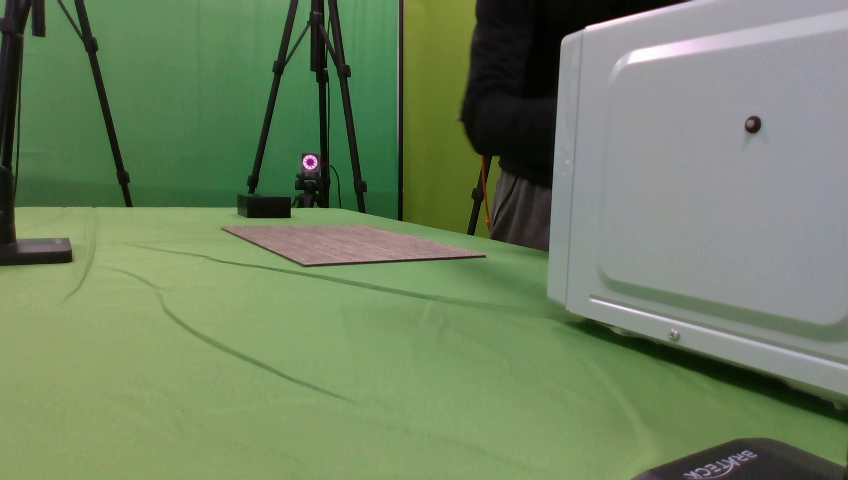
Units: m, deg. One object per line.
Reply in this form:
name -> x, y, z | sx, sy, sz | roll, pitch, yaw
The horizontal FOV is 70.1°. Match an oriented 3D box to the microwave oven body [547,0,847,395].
microwave oven body -> 0.379, -0.046, 0.510 | 0.444, 0.260, 0.324 | -2, 7, -31

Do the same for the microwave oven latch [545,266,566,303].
microwave oven latch -> 0.148, 0.039, 0.555 | 0.079, 0.029, 0.030 | -1, 7, -28

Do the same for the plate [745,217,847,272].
plate -> 0.407, 0.005, 0.553 | 0.209, 0.038, 0.209 | 3, 6, 0

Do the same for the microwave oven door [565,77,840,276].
microwave oven door -> 0.368, -0.093, 0.859 | 0.354, 0.243, 0.039 | 8, 9, 44
